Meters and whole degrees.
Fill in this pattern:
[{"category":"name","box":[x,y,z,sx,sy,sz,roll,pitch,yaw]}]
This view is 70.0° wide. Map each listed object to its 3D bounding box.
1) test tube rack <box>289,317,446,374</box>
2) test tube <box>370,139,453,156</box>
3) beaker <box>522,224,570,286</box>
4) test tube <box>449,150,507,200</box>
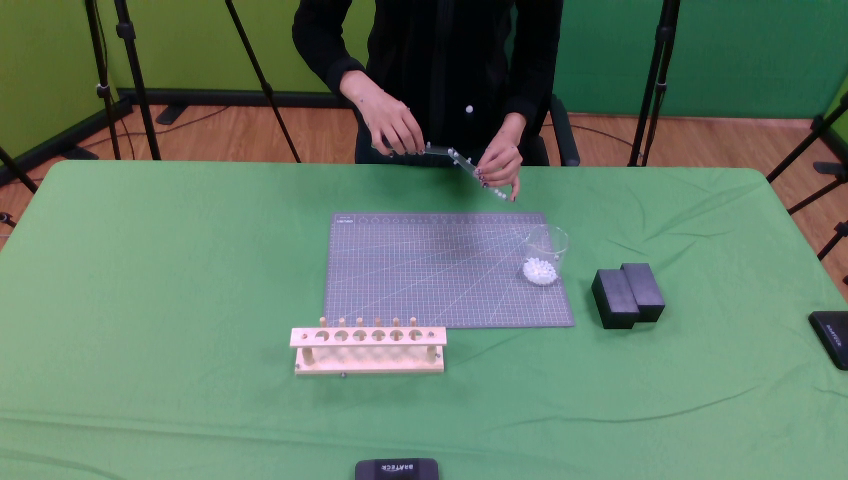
[{"category":"test tube rack","box":[-0.089,0.167,0.988,0.242,0.085,0.066,0,46,-4]},{"category":"test tube","box":[-0.022,-0.166,1.082,0.151,0.017,0.017,5,46,-7]},{"category":"beaker","box":[0.221,0.032,1.129,0.084,0.101,0.073,-6,46,-9]},{"category":"test tube","box":[0.103,-0.120,1.129,0.151,0.017,0.017,36,38,-29]}]
